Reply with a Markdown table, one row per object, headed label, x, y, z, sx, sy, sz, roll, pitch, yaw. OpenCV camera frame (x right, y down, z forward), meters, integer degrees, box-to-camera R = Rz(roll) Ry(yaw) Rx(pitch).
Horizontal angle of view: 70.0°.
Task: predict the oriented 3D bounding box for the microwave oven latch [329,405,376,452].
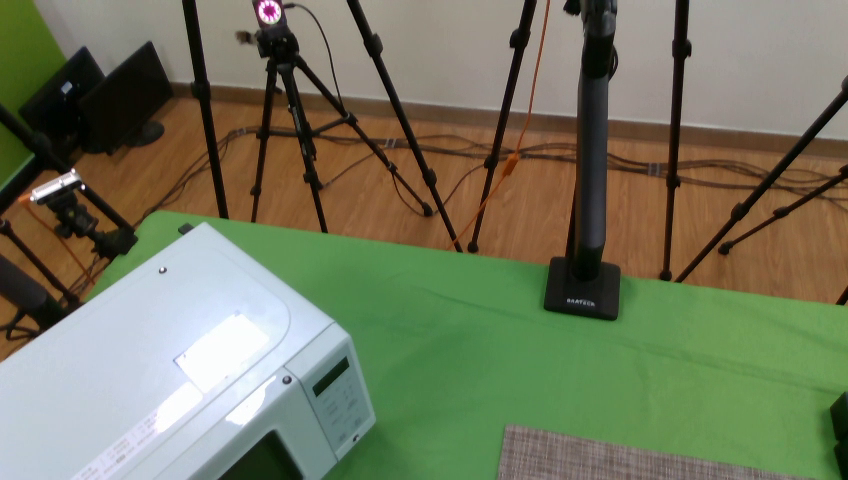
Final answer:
| label | x | y | z | sx | sy | sz | roll | pitch | yaw |
| --- | --- | --- | --- | --- | --- | --- | --- | --- | --- |
| microwave oven latch | -0.104 | 0.262 | 0.864 | 0.030 | 0.030 | 0.079 | 34 | 61 | 29 |

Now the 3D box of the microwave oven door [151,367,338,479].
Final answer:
| label | x | y | z | sx | sy | sz | roll | pitch | yaw |
| --- | --- | --- | --- | --- | --- | --- | --- | --- | --- |
| microwave oven door | -0.260 | 0.325 | 0.688 | 0.039 | 0.246 | 0.355 | 32 | 59 | 29 |

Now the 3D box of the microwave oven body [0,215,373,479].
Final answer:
| label | x | y | z | sx | sy | sz | roll | pitch | yaw |
| --- | --- | --- | --- | --- | --- | --- | --- | --- | --- |
| microwave oven body | -0.340 | 0.236 | 0.780 | 0.323 | 0.263 | 0.441 | 32 | 60 | 28 |
